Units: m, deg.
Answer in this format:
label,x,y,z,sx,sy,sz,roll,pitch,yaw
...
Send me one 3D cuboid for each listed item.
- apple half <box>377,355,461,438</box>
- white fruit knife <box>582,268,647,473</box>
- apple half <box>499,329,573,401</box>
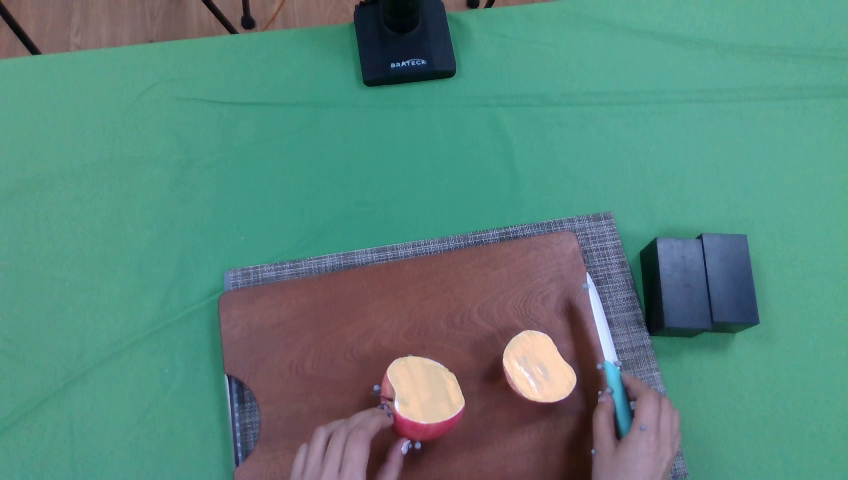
label,x,y,z,sx,sy,sz,roll,pitch,yaw
apple half,-0.008,0.159,0.591,0.075,0.053,0.080,0,40,-24
white fruit knife,0.186,0.127,0.606,0.027,0.016,0.206,5,67,-43
apple half,0.106,0.133,0.614,0.081,0.033,0.080,12,51,-15
